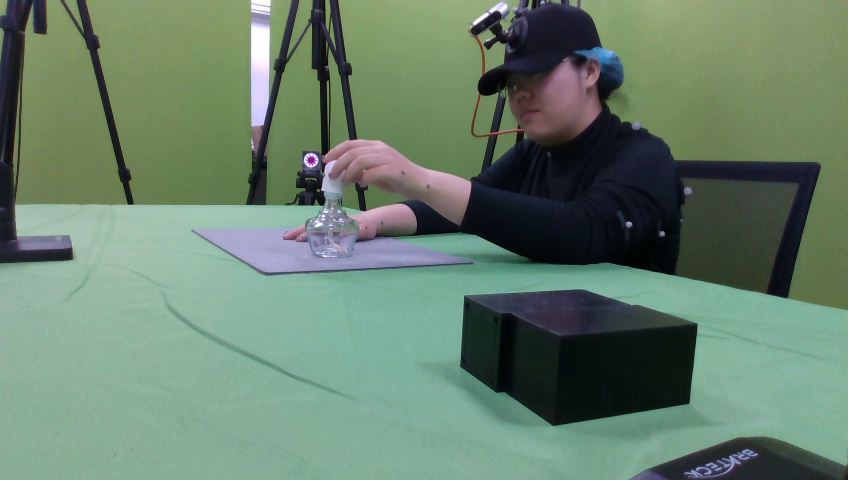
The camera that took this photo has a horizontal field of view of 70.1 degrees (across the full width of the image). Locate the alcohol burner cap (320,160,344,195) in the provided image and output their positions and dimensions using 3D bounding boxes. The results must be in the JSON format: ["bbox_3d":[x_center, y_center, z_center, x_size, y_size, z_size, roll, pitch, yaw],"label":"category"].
[{"bbox_3d":[-0.127,-0.089,0.846,0.034,0.048,0.034,7,6,0],"label":"alcohol burner cap"}]

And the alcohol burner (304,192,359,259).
[{"bbox_3d":[-0.130,-0.034,0.851,0.078,0.119,0.078,2,5,0],"label":"alcohol burner"}]
